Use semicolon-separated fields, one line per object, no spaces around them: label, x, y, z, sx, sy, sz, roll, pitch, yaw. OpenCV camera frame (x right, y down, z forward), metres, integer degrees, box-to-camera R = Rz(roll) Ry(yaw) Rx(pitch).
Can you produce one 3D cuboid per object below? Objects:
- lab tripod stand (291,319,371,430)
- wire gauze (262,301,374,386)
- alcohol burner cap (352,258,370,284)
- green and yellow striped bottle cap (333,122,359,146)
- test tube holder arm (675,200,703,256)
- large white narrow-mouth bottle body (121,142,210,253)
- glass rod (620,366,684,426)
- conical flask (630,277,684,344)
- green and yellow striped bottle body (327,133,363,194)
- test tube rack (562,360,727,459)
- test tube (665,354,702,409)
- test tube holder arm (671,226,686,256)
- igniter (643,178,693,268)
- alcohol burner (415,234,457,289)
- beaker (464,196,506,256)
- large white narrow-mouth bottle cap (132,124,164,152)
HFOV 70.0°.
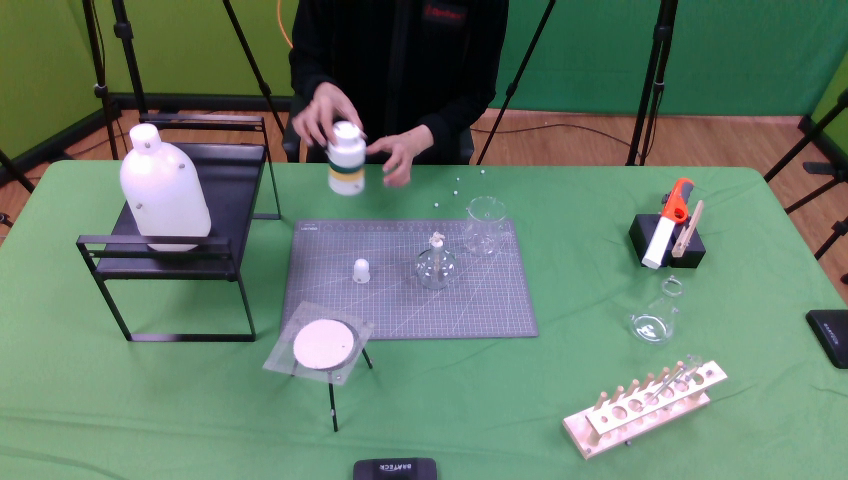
lab tripod stand;-0.146;0.193;0.923;0.148;0.132;0.147;1;47;-1
wire gauze;-0.150;0.148;0.873;0.121;0.011;0.124;14;46;12
alcohol burner cap;-0.117;0.055;1.118;0.034;0.048;0.033;2;46;-2
green and yellow striped bottle cap;-0.131;-0.179;1.016;0.045;0.020;0.045;4;46;-4
test tube holder arm;0.523;-0.025;1.190;0.013;0.015;0.178;1;36;42
large white narrow-mouth bottle body;-0.378;-0.077;0.875;0.102;0.195;0.101;3;46;-3
glass rod;0.322;0.227;0.866;0.008;0.200;0.008;6;51;-7
conical flask;0.408;0.117;1.045;0.075;0.122;0.075;2;46;-2
green and yellow striped bottle body;-0.138;-0.144;1.054;0.063;0.120;0.063;4;46;-4
test tube rack;0.341;0.247;0.940;0.243;0.085;0.066;-16;49;-18
test tube;0.385;0.215;0.906;0.017;0.151;0.017;-1;49;1
test tube holder arm;0.494;0.001;1.167;0.010;0.015;0.087;1;36;42
igniter;0.488;-0.042;1.205;0.057;0.025;0.276;30;51;11
alcohol burner;0.022;0.033;1.099;0.078;0.120;0.077;1;47;-1
beaker;0.117;-0.026;1.174;0.074;0.101;0.083;21;48;15
large white narrow-mouth bottle cap;-0.371;-0.138;0.812;0.038;0.024;0.037;3;46;-3
